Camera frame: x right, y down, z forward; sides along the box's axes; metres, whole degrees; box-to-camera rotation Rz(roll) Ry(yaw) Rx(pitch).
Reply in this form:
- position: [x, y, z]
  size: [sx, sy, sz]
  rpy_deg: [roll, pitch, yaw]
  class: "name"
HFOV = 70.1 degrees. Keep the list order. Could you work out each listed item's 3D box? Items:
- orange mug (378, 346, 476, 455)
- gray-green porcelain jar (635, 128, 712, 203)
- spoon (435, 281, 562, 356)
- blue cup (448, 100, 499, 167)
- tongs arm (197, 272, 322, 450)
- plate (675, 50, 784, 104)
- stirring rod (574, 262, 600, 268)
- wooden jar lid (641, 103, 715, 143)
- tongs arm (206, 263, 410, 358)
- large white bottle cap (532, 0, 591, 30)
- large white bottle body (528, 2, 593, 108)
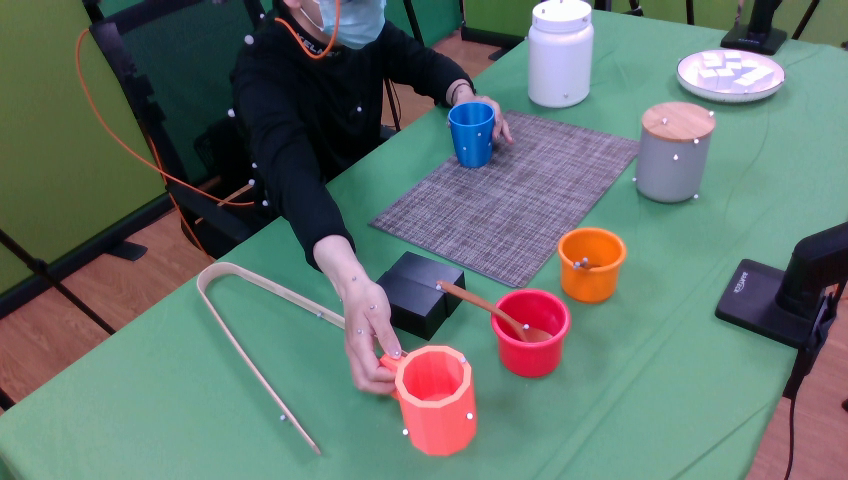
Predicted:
- position: [0.002, 0.179, 0.708]
  size: [0.125, 0.101, 0.083]
  rpy_deg: [25, 50, 27]
  class: "orange mug"
- position: [0.405, -0.133, 0.992]
  size: [0.106, 0.127, 0.105]
  rpy_deg: [-4, 40, 4]
  class: "gray-green porcelain jar"
- position: [0.096, 0.096, 0.757]
  size: [0.195, 0.021, 0.041]
  rpy_deg: [33, 31, -19]
  class: "spoon"
- position: [0.092, -0.193, 1.121]
  size: [0.092, 0.101, 0.092]
  rpy_deg: [-5, 43, 5]
  class: "blue cup"
- position: [-0.236, 0.151, 0.826]
  size: [0.028, 0.028, 0.384]
  rpy_deg: [-35, 46, -20]
  class: "tongs arm"
- position: [0.632, -0.336, 1.262]
  size: [0.207, 0.039, 0.206]
  rpy_deg: [-4, 41, 4]
  class: "plate"
- position: [0.221, 0.034, 0.816]
  size: [0.014, 0.006, 0.177]
  rpy_deg: [9, 1, 22]
  class: "stirring rod"
- position: [0.398, -0.180, 0.952]
  size: [0.108, 0.021, 0.108]
  rpy_deg: [-4, 43, 4]
  class: "wooden jar lid"
- position: [-0.179, 0.106, 0.869]
  size: [0.382, 0.026, 0.051]
  rpy_deg: [22, 51, 32]
  class: "tongs arm"
- position: [0.274, -0.449, 1.204]
  size: [0.115, 0.018, 0.114]
  rpy_deg: [-4, 41, 4]
  class: "large white bottle cap"
- position: [0.283, -0.386, 1.259]
  size: [0.130, 0.185, 0.130]
  rpy_deg: [-5, 41, 5]
  class: "large white bottle body"
